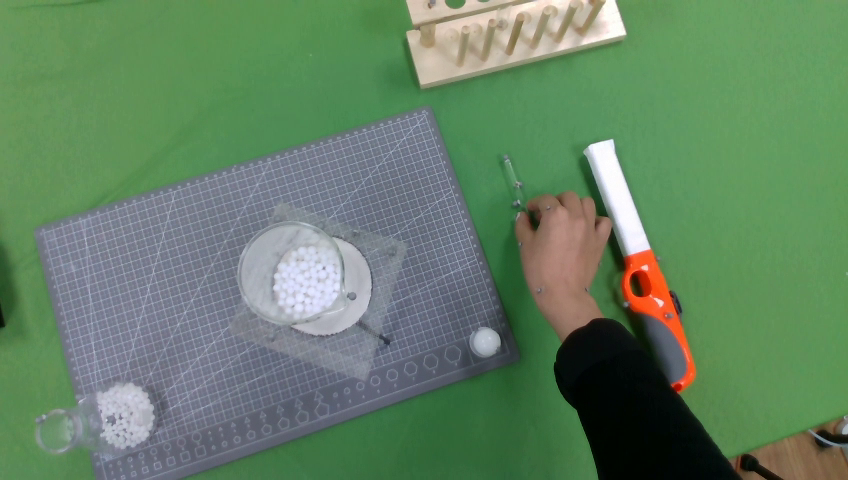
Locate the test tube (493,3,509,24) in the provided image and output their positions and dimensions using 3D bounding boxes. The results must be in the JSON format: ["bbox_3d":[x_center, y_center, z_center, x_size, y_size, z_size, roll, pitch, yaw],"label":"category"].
[{"bbox_3d":[0.083,-0.261,0.612,0.017,0.150,0.017,0,81,1],"label":"test tube"}]

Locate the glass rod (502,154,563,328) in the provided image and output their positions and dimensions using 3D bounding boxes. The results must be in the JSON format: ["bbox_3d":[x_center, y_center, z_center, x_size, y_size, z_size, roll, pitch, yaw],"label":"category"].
[{"bbox_3d":[0.118,0.000,0.661,0.008,0.008,0.199,-17,85,-4],"label":"glass rod"}]

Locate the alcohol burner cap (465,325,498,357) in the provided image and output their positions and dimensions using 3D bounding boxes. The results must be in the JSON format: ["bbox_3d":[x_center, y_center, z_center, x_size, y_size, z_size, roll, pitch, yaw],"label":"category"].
[{"bbox_3d":[0.061,0.102,0.624,0.034,0.048,0.033,1,76,-4],"label":"alcohol burner cap"}]

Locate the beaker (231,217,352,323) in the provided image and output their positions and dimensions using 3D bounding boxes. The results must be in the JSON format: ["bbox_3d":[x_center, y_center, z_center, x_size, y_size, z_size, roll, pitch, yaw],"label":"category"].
[{"bbox_3d":[-0.093,0.030,0.470,0.084,0.100,0.074,31,82,4],"label":"beaker"}]

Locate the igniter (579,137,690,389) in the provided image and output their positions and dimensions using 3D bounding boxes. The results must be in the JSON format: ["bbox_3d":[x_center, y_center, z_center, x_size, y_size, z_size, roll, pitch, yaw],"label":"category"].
[{"bbox_3d":[0.227,0.021,0.651,0.057,0.025,0.275,-15,82,-14],"label":"igniter"}]

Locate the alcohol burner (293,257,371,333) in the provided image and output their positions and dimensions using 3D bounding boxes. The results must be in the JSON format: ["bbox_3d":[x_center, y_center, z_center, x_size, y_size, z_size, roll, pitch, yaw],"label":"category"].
[{"bbox_3d":[-0.092,0.053,0.591,0.078,0.119,0.077,0,82,0],"label":"alcohol burner"}]

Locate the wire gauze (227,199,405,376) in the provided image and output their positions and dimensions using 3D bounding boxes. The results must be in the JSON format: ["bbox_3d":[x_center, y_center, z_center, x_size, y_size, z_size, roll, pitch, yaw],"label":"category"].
[{"bbox_3d":[-0.091,0.039,0.517,0.125,0.011,0.121,19,84,0],"label":"wire gauze"}]

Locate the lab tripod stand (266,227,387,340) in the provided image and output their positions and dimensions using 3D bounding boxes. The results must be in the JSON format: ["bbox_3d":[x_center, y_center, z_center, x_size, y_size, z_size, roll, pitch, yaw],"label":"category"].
[{"bbox_3d":[-0.095,0.048,0.582,0.148,0.132,0.148,0,83,-1],"label":"lab tripod stand"}]

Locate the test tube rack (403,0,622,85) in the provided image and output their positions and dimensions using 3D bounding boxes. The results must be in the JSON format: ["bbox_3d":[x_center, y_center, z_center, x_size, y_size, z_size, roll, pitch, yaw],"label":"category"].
[{"bbox_3d":[0.102,-0.243,0.659,0.242,0.085,0.066,-14,81,-3],"label":"test tube rack"}]

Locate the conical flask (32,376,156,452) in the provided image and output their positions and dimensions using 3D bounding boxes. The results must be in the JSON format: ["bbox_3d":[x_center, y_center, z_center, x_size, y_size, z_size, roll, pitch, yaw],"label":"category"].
[{"bbox_3d":[-0.309,0.167,0.563,0.075,0.122,0.075,0,81,-1],"label":"conical flask"}]
